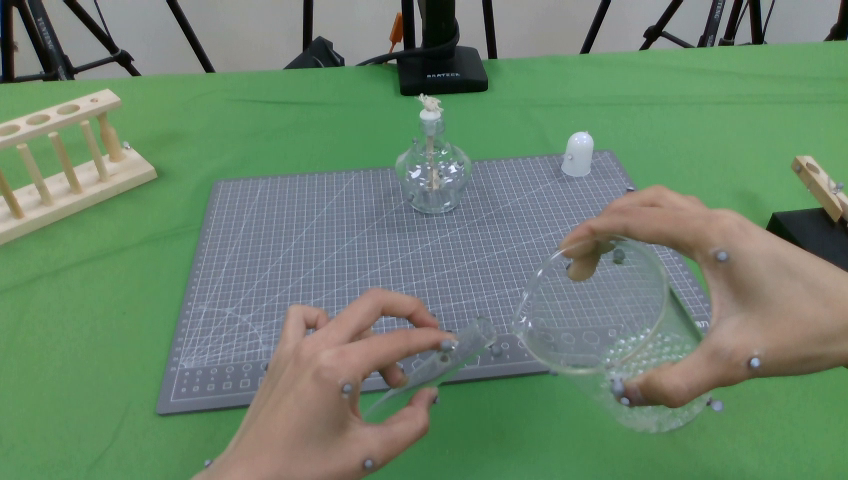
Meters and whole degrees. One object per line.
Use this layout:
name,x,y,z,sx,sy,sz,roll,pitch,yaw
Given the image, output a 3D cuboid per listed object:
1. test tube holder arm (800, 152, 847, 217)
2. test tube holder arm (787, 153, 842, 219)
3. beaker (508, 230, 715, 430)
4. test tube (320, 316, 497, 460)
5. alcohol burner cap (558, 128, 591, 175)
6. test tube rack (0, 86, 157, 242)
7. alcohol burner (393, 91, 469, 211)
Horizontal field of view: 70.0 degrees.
test tube holder arm,0.366,-0.022,0.519,0.013,0.015,0.176,-8,41,3
test tube holder arm,0.358,-0.051,0.553,0.010,0.015,0.087,-8,41,4
beaker,0.102,0.054,0.319,0.084,0.101,0.073,-21,47,30
test tube,-0.014,0.090,0.351,0.017,0.150,0.017,34,31,-23
alcohol burner cap,0.165,-0.099,0.660,0.034,0.048,0.033,0,41,1
test tube rack,-0.406,-0.063,0.598,0.242,0.086,0.066,-32,50,-31
alcohol burner,0.006,-0.089,0.596,0.078,0.120,0.077,-2,40,2
